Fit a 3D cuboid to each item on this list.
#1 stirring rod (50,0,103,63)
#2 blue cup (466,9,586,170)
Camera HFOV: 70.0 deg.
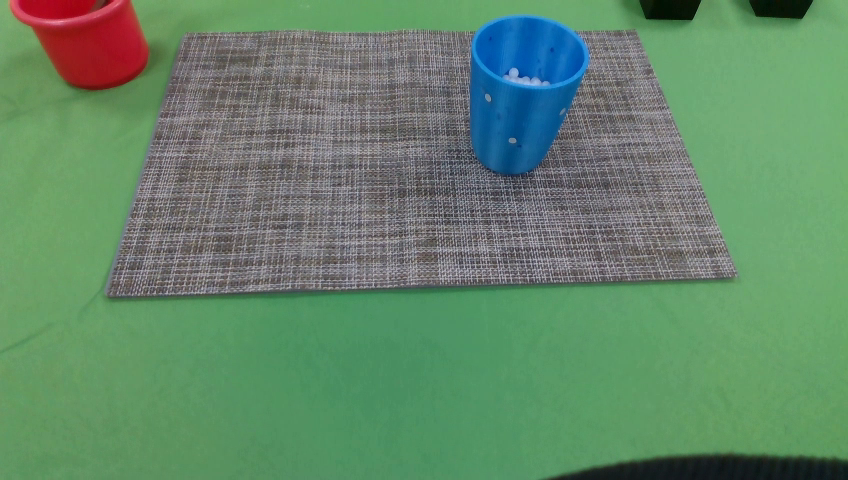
[{"bbox_3d":[-0.273,-0.217,0.520,0.176,0.006,0.014,-40,59,19],"label":"stirring rod"},{"bbox_3d":[0.071,-0.109,0.471,0.093,0.101,0.092,2,54,-2],"label":"blue cup"}]
